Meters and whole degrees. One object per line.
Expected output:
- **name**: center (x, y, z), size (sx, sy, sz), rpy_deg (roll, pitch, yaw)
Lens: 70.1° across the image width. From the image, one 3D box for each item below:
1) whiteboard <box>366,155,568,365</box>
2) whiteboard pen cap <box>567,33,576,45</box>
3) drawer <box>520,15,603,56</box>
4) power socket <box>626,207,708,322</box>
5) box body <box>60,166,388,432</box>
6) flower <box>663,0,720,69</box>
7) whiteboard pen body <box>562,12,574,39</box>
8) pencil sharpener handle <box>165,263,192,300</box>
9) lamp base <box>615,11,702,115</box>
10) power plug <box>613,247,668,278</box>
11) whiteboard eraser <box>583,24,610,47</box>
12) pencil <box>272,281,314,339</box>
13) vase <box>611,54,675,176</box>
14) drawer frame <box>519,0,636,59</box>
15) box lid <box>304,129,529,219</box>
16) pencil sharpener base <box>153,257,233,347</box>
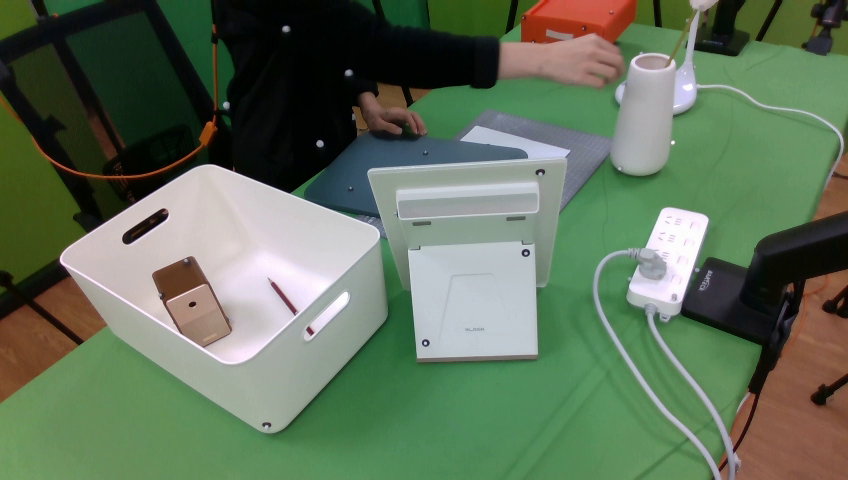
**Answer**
- **whiteboard**: center (0.059, 0.050, 0.738), size (0.217, 0.307, 0.143), rpy_deg (-2, 60, 5)
- **whiteboard pen cap**: center (0.339, -0.463, 1.390), size (0.018, 0.018, 0.033), rpy_deg (-2, 44, 6)
- **drawer**: center (0.359, -0.517, 1.416), size (0.193, 0.073, 0.212), rpy_deg (20, 47, 29)
- **power socket**: center (0.359, 0.026, 0.886), size (0.072, 0.033, 0.227), rpy_deg (16, 46, 26)
- **box body**: center (-0.256, 0.065, 0.827), size (0.361, 0.161, 0.255), rpy_deg (20, 48, 29)
- **flower**: center (0.379, -0.261, 0.965), size (0.044, 0.362, 0.038), rpy_deg (20, 52, 5)
- **whiteboard pen body**: center (0.341, -0.506, 1.430), size (0.017, 0.017, 0.140), rpy_deg (-2, 42, 6)
- **pencil sharpener handle**: center (-0.353, 0.054, 0.867), size (0.036, 0.068, 0.030), rpy_deg (-18, 40, -28)
- **lamp base**: center (0.484, -0.363, 1.211), size (0.180, 0.181, 0.159), rpy_deg (-15, 41, -14)
- **power plug**: center (0.306, 0.032, 0.851), size (0.072, 0.053, 0.035), rpy_deg (24, 49, 34)
- **whiteboard eraser**: center (0.407, -0.479, 1.423), size (0.055, 0.042, 0.113), rpy_deg (-3, 9, 20)
- **pencil**: center (-0.187, 0.106, 0.880), size (0.012, 0.012, 0.192), rpy_deg (-27, 41, -22)
- **vase**: center (0.377, -0.209, 1.031), size (0.098, 0.201, 0.097), rpy_deg (-3, 40, 3)
- **drawer frame**: center (0.362, -0.518, 1.423), size (0.200, 0.083, 0.214), rpy_deg (19, 48, 29)
- **box lid**: center (-0.010, -0.117, 1.122), size (0.369, 0.015, 0.263), rpy_deg (11, 44, 22)
- **pencil sharpener base**: center (-0.321, 0.088, 0.843), size (0.061, 0.107, 0.076), rpy_deg (-28, 44, -20)
